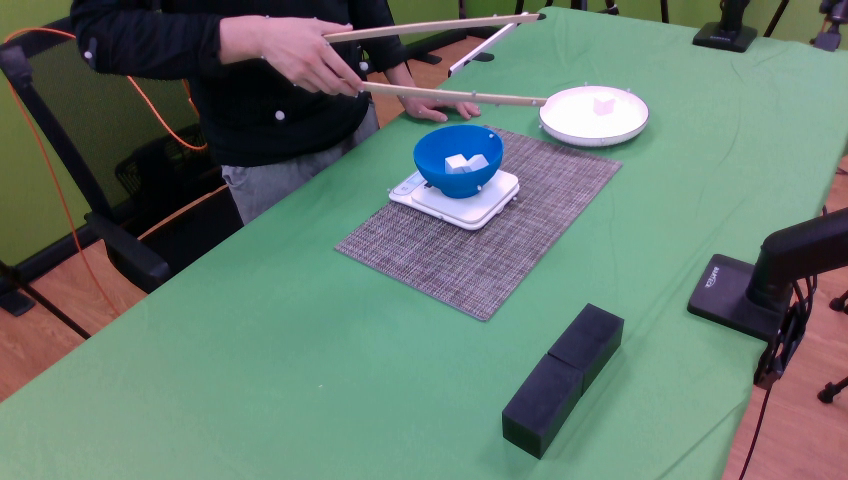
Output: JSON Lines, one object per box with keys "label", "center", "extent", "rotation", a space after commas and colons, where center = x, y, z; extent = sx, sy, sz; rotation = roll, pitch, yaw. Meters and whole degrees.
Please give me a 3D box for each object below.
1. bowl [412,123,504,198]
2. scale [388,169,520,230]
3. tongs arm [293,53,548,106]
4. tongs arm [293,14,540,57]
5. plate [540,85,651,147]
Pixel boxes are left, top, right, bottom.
{"label": "bowl", "center": [0.060, -0.123, 1.007], "extent": [0.151, 0.077, 0.150], "rotation": [-5, 41, 5]}
{"label": "scale", "center": [0.050, -0.090, 1.051], "extent": [0.199, 0.032, 0.149], "rotation": [24, 49, 31]}
{"label": "tongs arm", "center": [-0.002, -0.241, 0.915], "extent": [0.386, 0.026, 0.050], "rotation": [2, 82, -7]}
{"label": "tongs arm", "center": [-0.007, -0.317, 0.927], "extent": [0.389, 0.028, 0.027], "rotation": [-10, -3, -9]}
{"label": "plate", "center": [0.333, -0.238, 1.186], "extent": [0.207, 0.039, 0.206], "rotation": [-4, 41, 4]}
